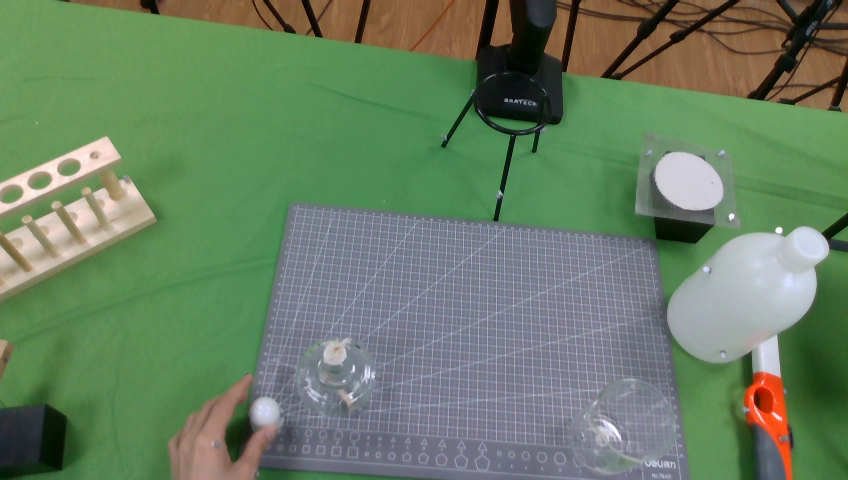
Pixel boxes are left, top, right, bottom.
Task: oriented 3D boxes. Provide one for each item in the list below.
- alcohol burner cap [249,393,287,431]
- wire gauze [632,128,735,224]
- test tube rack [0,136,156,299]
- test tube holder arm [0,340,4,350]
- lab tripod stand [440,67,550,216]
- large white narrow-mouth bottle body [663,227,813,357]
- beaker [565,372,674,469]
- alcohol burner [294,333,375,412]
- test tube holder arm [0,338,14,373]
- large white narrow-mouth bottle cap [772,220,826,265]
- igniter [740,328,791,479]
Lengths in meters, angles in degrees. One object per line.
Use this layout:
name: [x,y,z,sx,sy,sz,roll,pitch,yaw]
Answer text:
alcohol burner cap: [-0.152,0.165,0.583,0.034,0.048,0.033,2,64,-4]
wire gauze: [0.316,-0.078,0.740,0.121,0.011,0.124,12,60,0]
test tube rack: [-0.417,-0.007,0.623,0.242,0.086,0.066,-32,70,-22]
test tube holder arm: [-0.399,0.168,0.513,0.013,0.015,0.177,8,60,-3]
lab tripod stand: [0.091,-0.123,0.722,0.149,0.132,0.147,4,62,-7]
large white narrow-mouth bottle body: [0.331,0.045,0.624,0.102,0.196,0.101,3,61,-4]
beaker: [0.180,0.178,0.585,0.084,0.101,0.073,3,61,-4]
alcohol burner: [-0.085,0.120,0.575,0.078,0.120,0.077,4,60,-7]
test tube holder arm: [-0.389,0.130,0.536,0.010,0.015,0.087,9,60,-2]
large white narrow-mouth bottle cap: [0.339,0.002,0.549,0.038,0.024,0.037,3,61,-5]
igniter: [0.372,0.152,0.666,0.057,0.025,0.274,20,60,-11]
